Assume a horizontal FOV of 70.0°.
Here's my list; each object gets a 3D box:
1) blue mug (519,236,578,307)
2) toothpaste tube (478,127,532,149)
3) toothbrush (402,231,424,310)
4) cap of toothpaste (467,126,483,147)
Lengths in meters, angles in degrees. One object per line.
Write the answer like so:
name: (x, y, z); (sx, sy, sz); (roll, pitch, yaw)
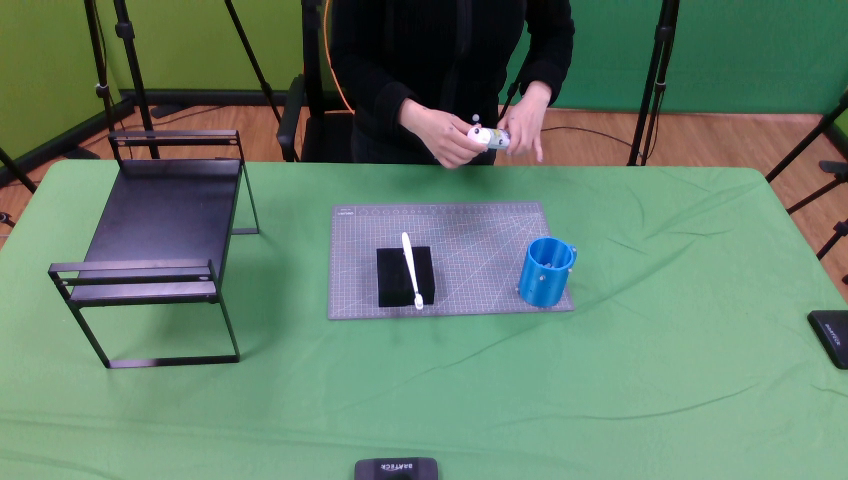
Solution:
blue mug: (0.234, 0.051, 1.102); (0.116, 0.106, 0.082); (-23, 52, -24)
toothpaste tube: (0.147, -0.192, 1.147); (0.165, 0.034, 0.055); (-10, 64, -47)
toothbrush: (-0.022, 0.049, 1.080); (0.014, 0.017, 0.180); (-9, 47, -5)
cap of toothpaste: (0.093, -0.186, 1.089); (0.011, 0.037, 0.037); (-11, 43, -47)
